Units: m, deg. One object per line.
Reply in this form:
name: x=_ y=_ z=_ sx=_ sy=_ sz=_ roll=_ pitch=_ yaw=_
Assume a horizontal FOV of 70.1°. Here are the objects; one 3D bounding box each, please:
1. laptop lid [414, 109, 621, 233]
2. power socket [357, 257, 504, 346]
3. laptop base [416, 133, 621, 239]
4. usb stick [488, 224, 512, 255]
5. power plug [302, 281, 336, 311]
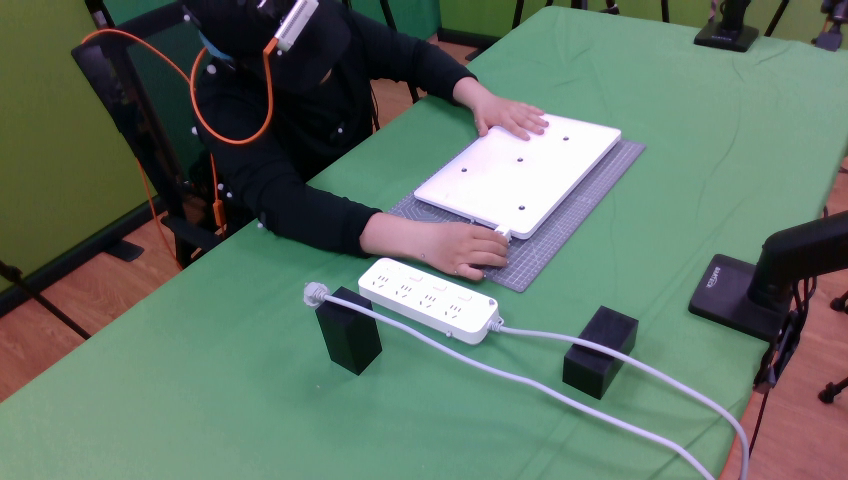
laptop lid: x=0.175 y=-0.143 z=1.095 sx=0.239 sy=0.013 sz=0.358 roll=23 pitch=48 yaw=34
power socket: x=0.003 y=0.084 z=0.862 sx=0.225 sy=0.033 sz=0.072 roll=20 pitch=49 yaw=28
laptop base: x=0.178 y=-0.133 z=1.101 sx=0.233 sy=0.023 sz=0.355 roll=21 pitch=48 yaw=33
usb stick: x=0.121 y=-0.005 z=0.938 sx=0.021 sy=0.027 sz=0.059 roll=19 pitch=40 yaw=25
power plug: x=-0.133 y=0.081 z=0.783 sx=0.035 sy=0.053 sz=0.072 roll=-42 pitch=47 yaw=-8
